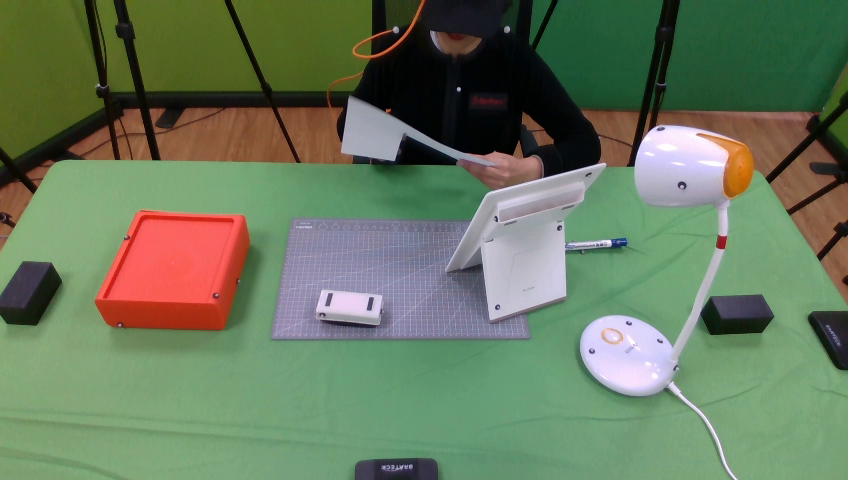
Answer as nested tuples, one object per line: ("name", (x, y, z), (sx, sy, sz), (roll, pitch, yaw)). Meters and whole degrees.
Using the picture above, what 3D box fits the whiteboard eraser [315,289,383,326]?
("whiteboard eraser", (-0.130, 0.119, 1.054), (0.113, 0.042, 0.055), (6, 47, 1))

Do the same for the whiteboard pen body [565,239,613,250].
("whiteboard pen body", (0.331, 0.008, 1.211), (0.141, 0.017, 0.017), (-5, 47, -4))

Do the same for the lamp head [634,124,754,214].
("lamp head", (0.351, -0.089, 0.776), (0.112, 0.113, 0.122), (-30, 30, -28))

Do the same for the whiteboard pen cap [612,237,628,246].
("whiteboard pen cap", (0.390, 0.004, 1.215), (0.033, 0.018, 0.018), (-7, 47, -2))

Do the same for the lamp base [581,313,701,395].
("lamp base", (0.361, 0.144, 0.972), (0.178, 0.181, 0.160), (34, 53, 23))

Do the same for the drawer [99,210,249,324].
("drawer", (-0.435, 0.044, 1.081), (0.194, 0.073, 0.210), (3, 47, -2))

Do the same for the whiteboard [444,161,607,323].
("whiteboard", (0.186, 0.025, 1.029), (0.217, 0.306, 0.143), (-14, 68, -18))

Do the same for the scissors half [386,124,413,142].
("scissors half", (-0.049, -0.221, 1.268), (0.013, 0.040, 0.174), (19, 7, -21))

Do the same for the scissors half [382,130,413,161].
("scissors half", (-0.055, -0.201, 1.267), (0.013, 0.175, 0.040), (13, 76, -21))

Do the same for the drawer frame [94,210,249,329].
("drawer frame", (-0.434, 0.048, 1.076), (0.202, 0.083, 0.212), (2, 47, -3))
